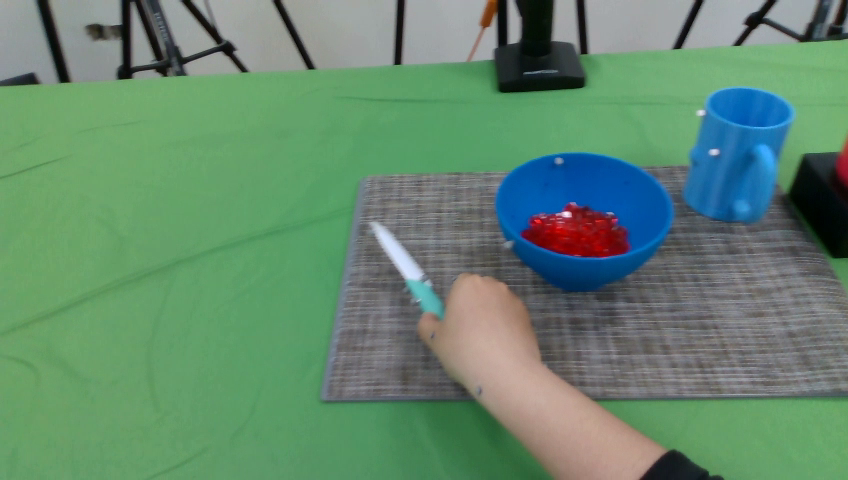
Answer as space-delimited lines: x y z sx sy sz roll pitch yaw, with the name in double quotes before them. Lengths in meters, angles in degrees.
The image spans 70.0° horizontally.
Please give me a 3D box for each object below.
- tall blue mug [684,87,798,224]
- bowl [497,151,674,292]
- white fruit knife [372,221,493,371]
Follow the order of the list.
"tall blue mug" 0.313 -0.074 0.585 0.078 0.109 0.106 -20 44 -16
"bowl" 0.141 -0.006 0.552 0.151 0.077 0.150 -3 43 3
"white fruit knife" -0.003 0.041 0.541 0.027 0.016 0.205 2 34 -36
